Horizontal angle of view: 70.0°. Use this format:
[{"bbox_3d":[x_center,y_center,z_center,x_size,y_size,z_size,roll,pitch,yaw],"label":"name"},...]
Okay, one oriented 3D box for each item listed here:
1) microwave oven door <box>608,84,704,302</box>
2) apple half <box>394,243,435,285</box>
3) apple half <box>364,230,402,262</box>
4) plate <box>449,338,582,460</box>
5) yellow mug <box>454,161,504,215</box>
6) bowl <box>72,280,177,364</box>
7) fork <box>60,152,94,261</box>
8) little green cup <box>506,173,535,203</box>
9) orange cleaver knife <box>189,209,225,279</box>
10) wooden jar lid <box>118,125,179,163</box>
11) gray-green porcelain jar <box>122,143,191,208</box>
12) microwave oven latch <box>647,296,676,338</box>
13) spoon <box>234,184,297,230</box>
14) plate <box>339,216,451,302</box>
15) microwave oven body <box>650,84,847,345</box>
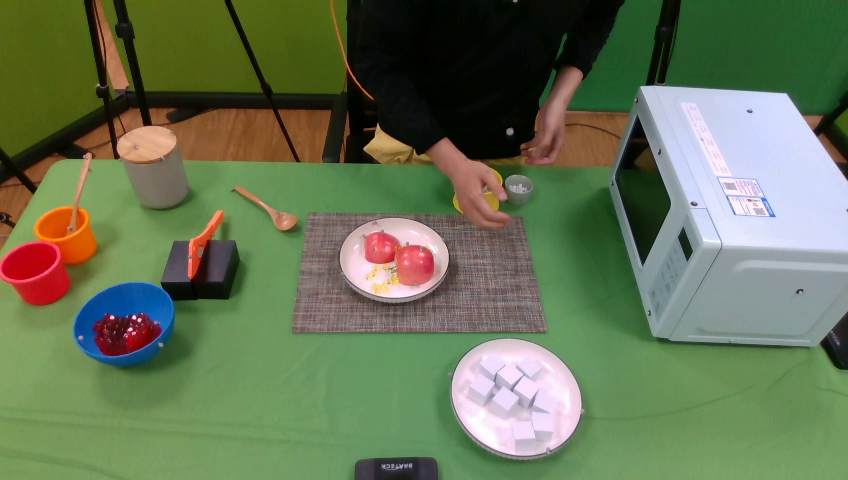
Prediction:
[{"bbox_3d":[0.424,-0.096,1.138,0.039,0.245,0.353,3,46,-1],"label":"microwave oven door"},{"bbox_3d":[-0.017,0.036,1.120,0.075,0.053,0.080,1,46,-6],"label":"apple half"},{"bbox_3d":[-0.079,0.004,1.159,0.081,0.033,0.081,3,49,-3],"label":"apple half"},{"bbox_3d":[0.141,0.251,0.955,0.208,0.039,0.206,2,47,-2],"label":"plate"},{"bbox_3d":[0.117,-0.119,1.283,0.100,0.064,0.130,8,43,5],"label":"yellow mug"},{"bbox_3d":[-0.472,0.147,0.982,0.151,0.077,0.150,2,46,-2],"label":"bowl"},{"bbox_3d":[-0.638,-0.063,1.120,0.028,0.018,0.207,12,90,7],"label":"fork"},{"bbox_3d":[0.206,-0.111,1.301,0.061,0.039,0.061,3,46,-3],"label":"little green cup"},{"bbox_3d":[-0.400,0.002,1.122,0.012,0.077,0.210,4,23,-4],"label":"orange cleaver knife"},{"bbox_3d":[-0.529,-0.181,1.167,0.108,0.021,0.107,4,48,-4],"label":"wooden jar lid"},{"bbox_3d":[-0.531,-0.137,1.214,0.106,0.127,0.105,2,47,-2],"label":"gray-green porcelain jar"},{"bbox_3d":[0.413,0.133,1.060,0.030,0.029,0.078,4,46,1],"label":"microwave oven latch"},{"bbox_3d":[-0.327,-0.073,1.240,0.193,0.022,0.041,34,71,25],"label":"spoon"},{"bbox_3d":[-0.054,0.038,1.138,0.209,0.038,0.208,2,46,-2],"label":"plate"},{"bbox_3d":[0.569,-0.054,1.116,0.326,0.261,0.439,2,46,-1],"label":"microwave oven body"}]
